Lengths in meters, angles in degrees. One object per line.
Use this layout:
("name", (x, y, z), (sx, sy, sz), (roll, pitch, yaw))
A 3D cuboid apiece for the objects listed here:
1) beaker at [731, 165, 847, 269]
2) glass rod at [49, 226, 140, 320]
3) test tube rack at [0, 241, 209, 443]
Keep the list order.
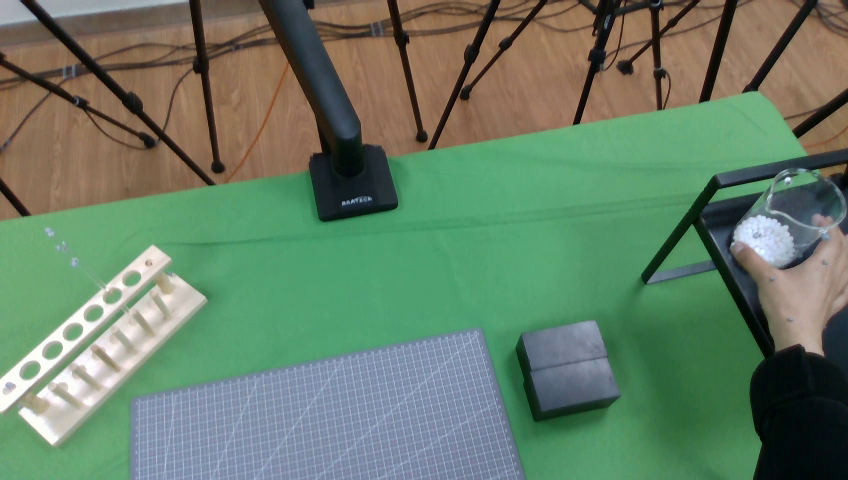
("beaker", (0.379, -0.019, 0.644), (0.084, 0.101, 0.073), (-12, 61, -9))
("glass rod", (-0.381, 0.045, 0.711), (0.008, 0.201, 0.008), (-2, 55, 3))
("test tube rack", (-0.387, 0.122, 0.743), (0.066, 0.086, 0.241), (33, 64, 16))
